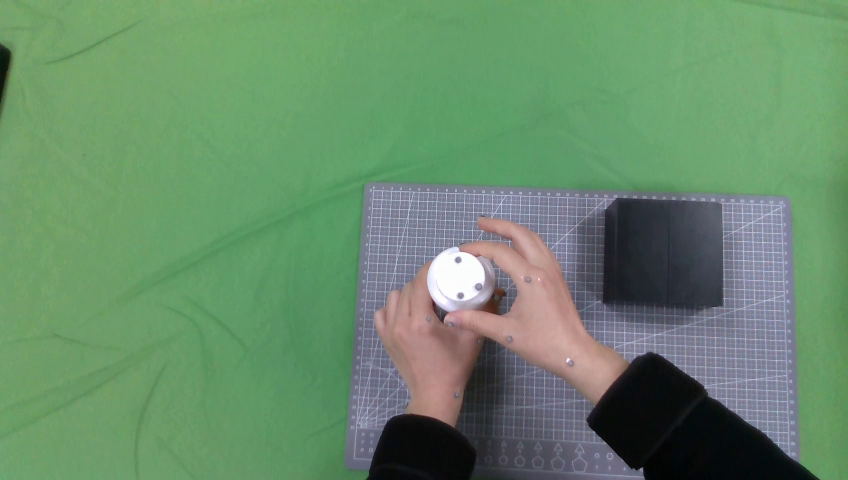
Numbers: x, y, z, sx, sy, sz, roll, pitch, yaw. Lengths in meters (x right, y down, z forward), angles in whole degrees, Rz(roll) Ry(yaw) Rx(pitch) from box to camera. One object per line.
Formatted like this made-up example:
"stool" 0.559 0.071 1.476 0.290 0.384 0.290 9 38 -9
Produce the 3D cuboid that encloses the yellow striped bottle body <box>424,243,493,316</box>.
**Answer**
"yellow striped bottle body" 0.033 0.039 0.580 0.063 0.120 0.062 0 80 3

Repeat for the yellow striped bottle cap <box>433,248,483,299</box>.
"yellow striped bottle cap" 0.030 0.029 0.528 0.044 0.019 0.044 0 81 0
